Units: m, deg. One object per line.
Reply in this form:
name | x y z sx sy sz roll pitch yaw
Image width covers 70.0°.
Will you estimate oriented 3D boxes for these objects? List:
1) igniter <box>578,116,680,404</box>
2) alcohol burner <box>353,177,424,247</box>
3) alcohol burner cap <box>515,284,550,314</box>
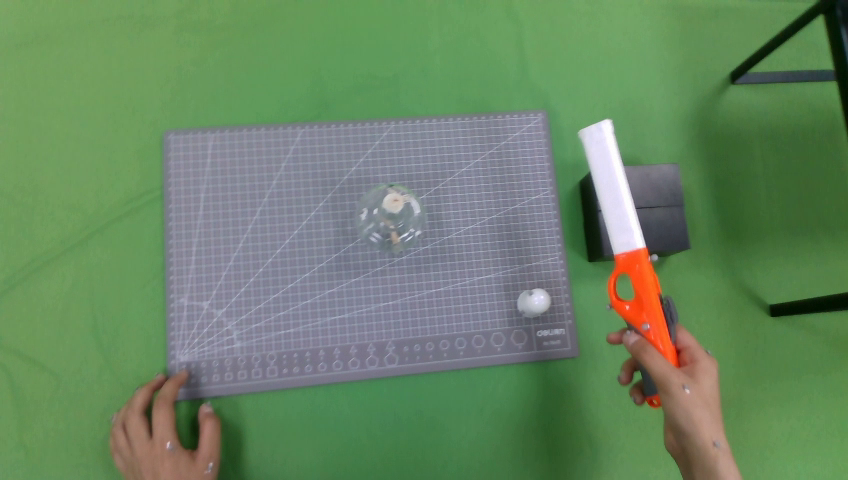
igniter | 0.196 0.018 0.579 0.025 0.057 0.276 -6 82 -52
alcohol burner | -0.036 -0.033 0.642 0.078 0.119 0.077 1 80 -7
alcohol burner cap | 0.123 0.065 0.677 0.034 0.048 0.033 1 80 -4
